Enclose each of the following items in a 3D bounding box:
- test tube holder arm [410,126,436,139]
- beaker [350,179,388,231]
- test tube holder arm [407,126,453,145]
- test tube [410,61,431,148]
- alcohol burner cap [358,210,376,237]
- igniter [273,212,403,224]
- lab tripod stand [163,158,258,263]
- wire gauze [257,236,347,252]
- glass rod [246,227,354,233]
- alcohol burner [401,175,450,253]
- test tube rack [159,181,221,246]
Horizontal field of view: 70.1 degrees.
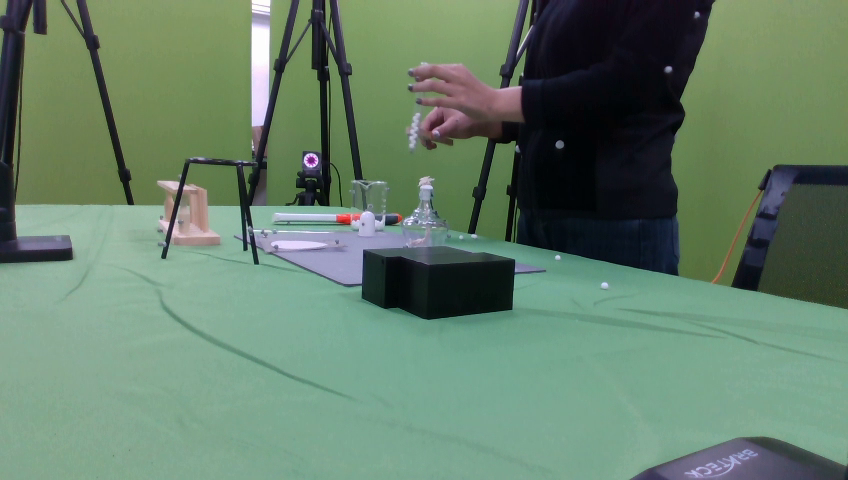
[{"bbox_3d":[-0.001,-0.202,1.139,0.010,0.015,0.088,4,3,28],"label":"test tube holder arm"},{"bbox_3d":[-0.111,-0.069,1.204,0.074,0.100,0.084,2,8,0],"label":"beaker"},{"bbox_3d":[0.015,-0.204,1.182,0.013,0.015,0.179,4,3,27],"label":"test tube holder arm"},{"bbox_3d":[-0.007,-0.236,1.055,0.017,0.150,0.017,9,5,0],"label":"test tube"},{"bbox_3d":[-0.104,-0.030,1.098,0.034,0.048,0.034,3,7,0],"label":"alcohol burner cap"},{"bbox_3d":[-0.179,-0.048,1.290,0.278,0.025,0.057,-1,-2,-24],"label":"igniter"},{"bbox_3d":[-0.265,-0.041,0.802,0.148,0.131,0.148,4,7,0],"label":"lab tripod stand"},{"bbox_3d":[-0.189,0.005,0.931,0.122,0.011,0.124,1,7,-21],"label":"wire gauze"},{"bbox_3d":[-0.224,-0.017,1.109,0.201,0.008,0.008,1,7,-27],"label":"glass rod"},{"bbox_3d":[0.003,-0.040,0.933,0.078,0.119,0.078,2,9,0],"label":"alcohol burner"},{"bbox_3d":[-0.395,-0.050,1.010,0.067,0.085,0.241,-2,8,-28],"label":"test tube rack"}]
